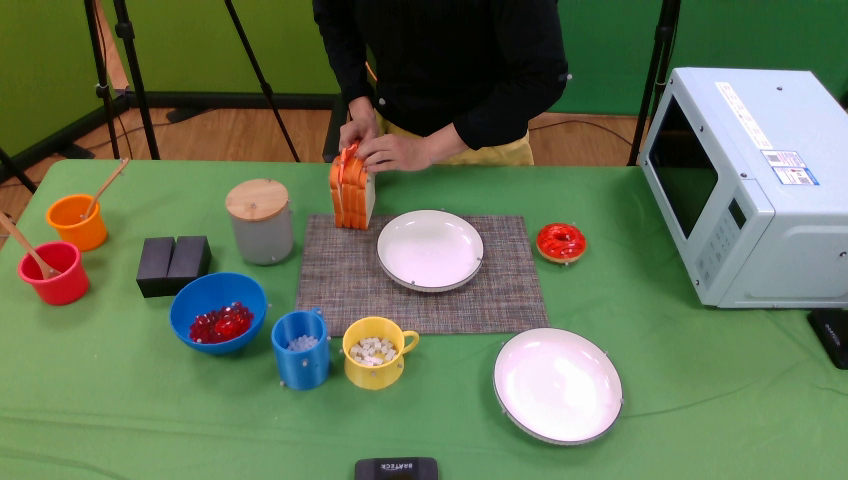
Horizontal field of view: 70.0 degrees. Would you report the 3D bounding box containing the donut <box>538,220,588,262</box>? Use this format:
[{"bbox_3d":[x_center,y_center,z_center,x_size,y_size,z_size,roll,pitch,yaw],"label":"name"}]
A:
[{"bbox_3d":[0.273,0.000,1.198,0.099,0.048,0.098,1,47,0],"label":"donut"}]

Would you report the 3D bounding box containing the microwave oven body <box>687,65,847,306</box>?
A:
[{"bbox_3d":[0.669,-0.111,1.176,0.326,0.261,0.439,0,46,-3],"label":"microwave oven body"}]

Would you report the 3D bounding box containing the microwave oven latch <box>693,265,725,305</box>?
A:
[{"bbox_3d":[0.523,0.082,1.115,0.030,0.029,0.078,2,46,-1],"label":"microwave oven latch"}]

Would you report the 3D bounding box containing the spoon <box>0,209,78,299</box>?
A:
[{"bbox_3d":[-0.668,0.022,1.040,0.041,0.021,0.194,-41,105,-30],"label":"spoon"}]

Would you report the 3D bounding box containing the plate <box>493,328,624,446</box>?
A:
[{"bbox_3d":[0.213,0.236,0.974,0.208,0.039,0.206,2,46,-2],"label":"plate"}]

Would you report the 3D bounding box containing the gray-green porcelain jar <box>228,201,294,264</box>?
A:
[{"bbox_3d":[-0.299,-0.027,1.126,0.106,0.127,0.105,2,46,-2],"label":"gray-green porcelain jar"}]

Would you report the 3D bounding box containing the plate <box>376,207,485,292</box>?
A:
[{"bbox_3d":[0.012,0.021,1.158,0.209,0.038,0.208,2,47,-2],"label":"plate"}]

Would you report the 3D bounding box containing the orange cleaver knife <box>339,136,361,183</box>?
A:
[{"bbox_3d":[-0.151,-0.168,1.240,0.012,0.077,0.210,6,19,1],"label":"orange cleaver knife"}]

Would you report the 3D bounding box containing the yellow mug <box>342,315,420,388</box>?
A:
[{"bbox_3d":[-0.068,0.177,0.990,0.131,0.064,0.099,-15,50,-19],"label":"yellow mug"}]

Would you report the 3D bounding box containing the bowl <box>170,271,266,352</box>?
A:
[{"bbox_3d":[-0.333,0.132,1.006,0.151,0.077,0.150,2,46,-2],"label":"bowl"}]

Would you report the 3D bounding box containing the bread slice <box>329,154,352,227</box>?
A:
[{"bbox_3d":[-0.166,-0.107,1.209,0.019,0.132,0.104,3,46,6],"label":"bread slice"}]

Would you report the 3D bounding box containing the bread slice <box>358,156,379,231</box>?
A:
[{"bbox_3d":[-0.111,-0.099,1.209,0.018,0.135,0.106,7,45,6],"label":"bread slice"}]

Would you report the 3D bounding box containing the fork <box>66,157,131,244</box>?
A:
[{"bbox_3d":[-0.608,-0.074,1.132,0.207,0.019,0.028,-52,49,10],"label":"fork"}]

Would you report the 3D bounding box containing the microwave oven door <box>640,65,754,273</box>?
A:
[{"bbox_3d":[0.523,-0.147,1.193,0.039,0.245,0.353,0,47,-3],"label":"microwave oven door"}]

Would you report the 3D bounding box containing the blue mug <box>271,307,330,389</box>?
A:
[{"bbox_3d":[-0.188,0.163,0.969,0.082,0.106,0.116,15,47,10],"label":"blue mug"}]

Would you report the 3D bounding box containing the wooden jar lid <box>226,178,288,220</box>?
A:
[{"bbox_3d":[-0.296,-0.070,1.081,0.108,0.021,0.107,1,45,-1],"label":"wooden jar lid"}]
